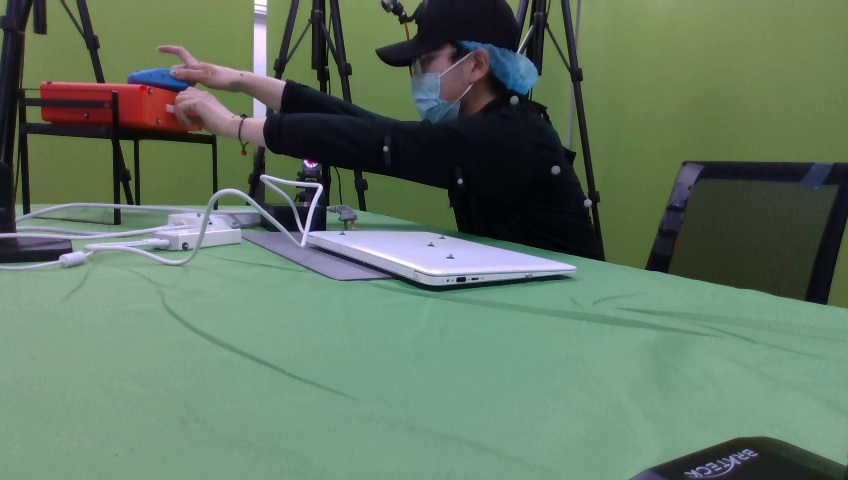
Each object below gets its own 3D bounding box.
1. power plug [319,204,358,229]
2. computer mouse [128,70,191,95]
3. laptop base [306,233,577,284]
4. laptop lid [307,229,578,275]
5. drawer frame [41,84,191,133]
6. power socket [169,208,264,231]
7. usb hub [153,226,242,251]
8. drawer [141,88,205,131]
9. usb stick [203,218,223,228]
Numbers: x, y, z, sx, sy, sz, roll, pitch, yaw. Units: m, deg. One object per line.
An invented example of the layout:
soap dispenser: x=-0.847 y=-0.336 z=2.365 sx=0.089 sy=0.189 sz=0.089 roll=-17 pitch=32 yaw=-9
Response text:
power plug: x=-0.169 y=-0.045 z=1.206 sx=0.072 sy=0.052 sz=0.035 roll=-7 pitch=-8 yaw=3
computer mouse: x=-0.532 y=-0.318 z=1.219 sx=0.118 sy=0.041 sz=0.062 roll=-6 pitch=1 yaw=-32
laptop base: x=0.007 y=0.022 z=0.850 sx=0.237 sy=0.023 sz=0.352 roll=1 pitch=7 yaw=-34
laptop lid: x=0.009 y=0.010 z=0.850 sx=0.243 sy=0.013 sz=0.355 roll=0 pitch=8 yaw=-32
drawer frame: x=-0.604 y=-0.264 z=1.225 sx=0.213 sy=0.082 sz=0.202 roll=3 pitch=8 yaw=8
power socket: x=-0.381 y=-0.038 z=1.128 sx=0.072 sy=0.032 sz=0.227 roll=4 pitch=8 yaw=16
usb hub: x=-0.337 y=-0.003 z=0.907 sx=0.049 sy=0.025 sz=0.125 roll=6 pitch=9 yaw=28
drawer: x=-0.588 y=-0.264 z=1.224 sx=0.211 sy=0.073 sz=0.195 roll=4 pitch=8 yaw=9
usb stick: x=-0.346 y=-0.018 z=1.009 sx=0.027 sy=0.021 sz=0.059 roll=45 pitch=-8 yaw=2
